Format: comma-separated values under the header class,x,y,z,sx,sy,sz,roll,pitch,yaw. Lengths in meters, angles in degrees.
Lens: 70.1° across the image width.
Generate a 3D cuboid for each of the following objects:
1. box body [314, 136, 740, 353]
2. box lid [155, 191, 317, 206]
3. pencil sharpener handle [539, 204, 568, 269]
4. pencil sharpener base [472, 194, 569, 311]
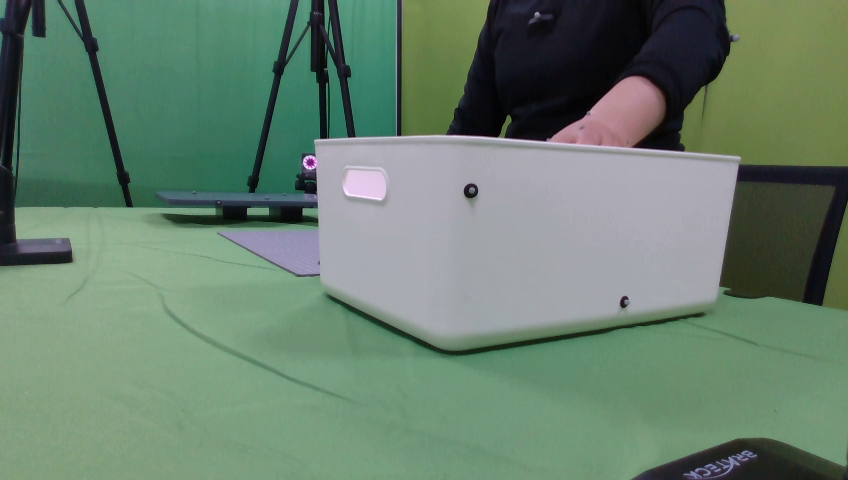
class,x,y,z,sx,sy,sz,roll,pitch,yaw
box body,0.098,-0.012,0.605,0.366,0.160,0.253,-2,8,-33
box lid,-0.387,-0.091,1.340,0.373,0.015,0.262,-1,8,-30
pencil sharpener handle,0.137,-0.003,0.621,0.031,0.067,0.036,0,18,-33
pencil sharpener base,0.095,0.011,0.591,0.077,0.107,0.061,0,6,-33
